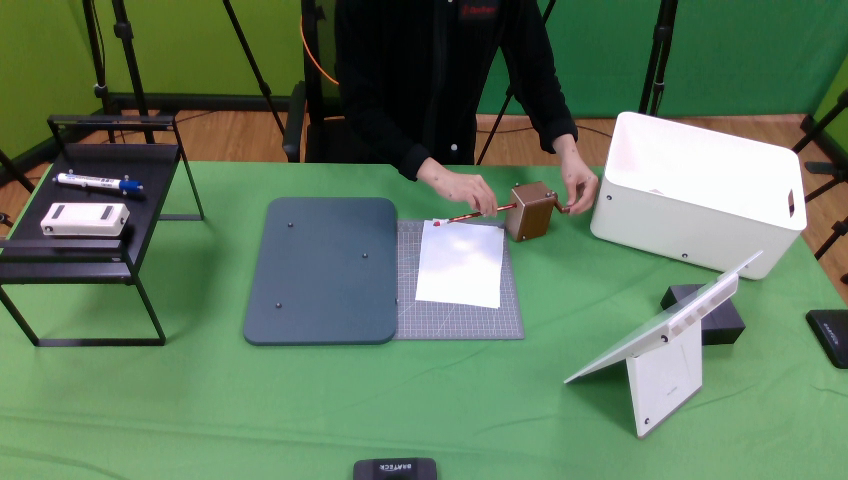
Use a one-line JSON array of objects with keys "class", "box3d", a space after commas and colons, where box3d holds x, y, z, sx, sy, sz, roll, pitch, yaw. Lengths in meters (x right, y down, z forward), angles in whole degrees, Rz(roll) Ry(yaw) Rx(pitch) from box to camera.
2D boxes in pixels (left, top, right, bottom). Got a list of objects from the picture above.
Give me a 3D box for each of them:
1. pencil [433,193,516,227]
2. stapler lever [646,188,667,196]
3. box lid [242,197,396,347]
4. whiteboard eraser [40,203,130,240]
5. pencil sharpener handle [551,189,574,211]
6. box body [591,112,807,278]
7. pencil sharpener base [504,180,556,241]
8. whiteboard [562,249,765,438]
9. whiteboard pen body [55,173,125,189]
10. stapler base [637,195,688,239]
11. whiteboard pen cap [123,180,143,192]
[{"class": "pencil", "box3d": [0.107, -0.062, 1.156, 0.194, 0.012, 0.012, -21, 51, -13]}, {"class": "stapler lever", "box3d": [0.507, -0.075, 1.262, 0.027, 0.040, 0.117, -14, 46, -19]}, {"class": "box lid", "box3d": [-0.186, 0.046, 1.147, 0.263, 0.015, 0.369, 0, 46, -3]}, {"class": "whiteboard eraser", "box3d": [-0.513, -0.028, 0.922, 0.113, 0.042, 0.055, 1, 48, -3]}, {"class": "pencil sharpener handle", "box3d": [0.267, -0.080, 1.196, 0.031, 0.036, 0.067, -14, 45, -17]}, {"class": "box body", "box3d": [0.540, -0.092, 1.229, 0.363, 0.161, 0.253, 16, 47, 11]}, {"class": "pencil sharpener base", "box3d": [0.212, -0.059, 1.211, 0.077, 0.107, 0.061, -14, 48, -17]}, {"class": "whiteboard", "box3d": [0.386, 0.175, 0.905, 0.217, 0.306, 0.143, -26, 72, -26]}, {"class": "whiteboard pen body", "box3d": [-0.539, -0.095, 0.998, 0.141, 0.017, 0.017, 6, 46, 6]}, {"class": "stapler base", "box3d": [0.507, -0.055, 1.280, 0.041, 0.024, 0.129, -14, 47, -19]}, {"class": "whiteboard pen cap", "box3d": [-0.479, -0.089, 0.993, 0.033, 0.018, 0.018, 7, 46, 14]}]
